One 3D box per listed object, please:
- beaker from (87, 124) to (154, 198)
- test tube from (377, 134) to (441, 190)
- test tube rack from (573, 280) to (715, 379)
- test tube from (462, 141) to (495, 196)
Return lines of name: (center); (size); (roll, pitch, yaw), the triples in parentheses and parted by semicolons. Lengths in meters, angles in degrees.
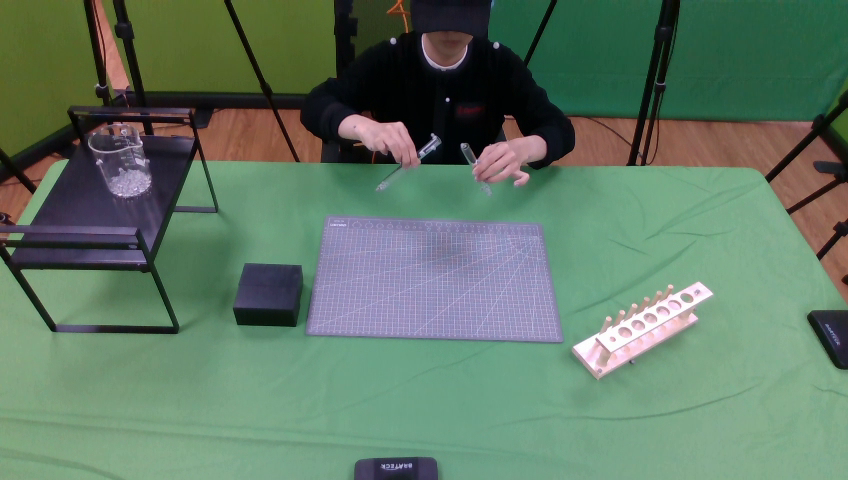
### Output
beaker: (-0.482, -0.124, 0.978); (0.084, 0.101, 0.073); (9, 46, 4)
test tube: (-0.028, -0.137, 1.084); (0.017, 0.150, 0.017); (41, 25, -24)
test tube rack: (0.378, 0.140, 1.038); (0.242, 0.085, 0.066); (-22, 51, -23)
test tube: (0.102, -0.129, 1.120); (0.017, 0.151, 0.017); (-14, 53, 19)
